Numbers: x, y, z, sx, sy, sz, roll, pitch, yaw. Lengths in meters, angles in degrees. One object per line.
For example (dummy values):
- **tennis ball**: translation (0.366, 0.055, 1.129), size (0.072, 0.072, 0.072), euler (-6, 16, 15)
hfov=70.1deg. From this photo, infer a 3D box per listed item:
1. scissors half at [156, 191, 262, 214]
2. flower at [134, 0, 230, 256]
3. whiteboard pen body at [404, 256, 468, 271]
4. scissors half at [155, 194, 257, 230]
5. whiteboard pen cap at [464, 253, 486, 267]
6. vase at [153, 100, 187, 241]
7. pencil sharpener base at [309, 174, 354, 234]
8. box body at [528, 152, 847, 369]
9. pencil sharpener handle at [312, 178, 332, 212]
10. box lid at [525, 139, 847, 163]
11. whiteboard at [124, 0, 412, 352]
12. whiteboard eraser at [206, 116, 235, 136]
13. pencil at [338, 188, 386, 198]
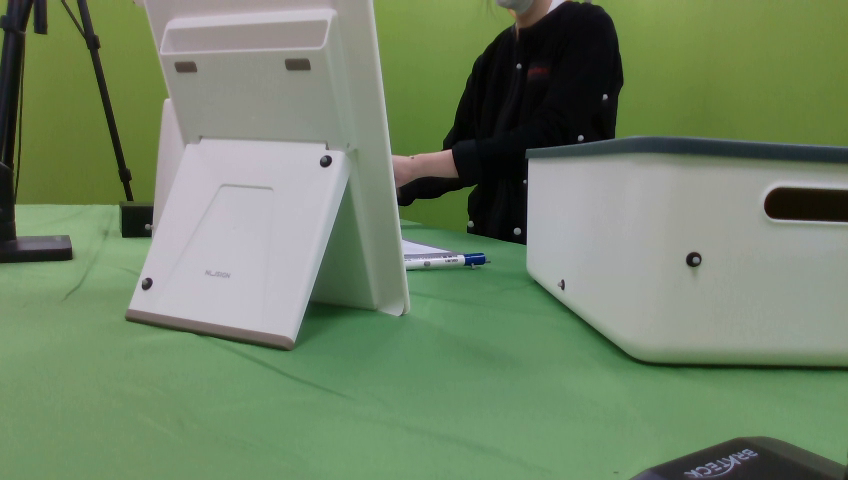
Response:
- **scissors half**: translation (-0.371, -0.069, 1.051), size (0.176, 0.040, 0.013), euler (2, 25, -24)
- **flower**: translation (-0.282, -0.147, 0.713), size (0.038, 0.362, 0.044), euler (-23, 24, -31)
- **whiteboard pen body**: translation (0.013, 0.030, 0.792), size (0.141, 0.017, 0.017), euler (-3, 9, -24)
- **scissors half**: translation (-0.378, -0.051, 1.058), size (0.176, 0.040, 0.012), euler (20, 22, -31)
- **whiteboard pen cap**: translation (0.066, 0.027, 0.818), size (0.033, 0.018, 0.018), euler (-5, 10, -24)
- **vase**: translation (-0.278, -0.066, 0.736), size (0.098, 0.200, 0.098), euler (2, 9, 0)
- **pencil sharpener base**: translation (-0.176, -0.070, 1.139), size (0.062, 0.107, 0.076), euler (-3, 9, -32)
- **box body**: translation (0.258, -0.005, 0.591), size (0.254, 0.160, 0.363), euler (2, 7, -4)
- **pencil sharpener handle**: translation (-0.205, -0.088, 1.179), size (0.036, 0.067, 0.030), euler (9, 2, -33)
- **box lid**: translation (0.261, -0.078, 0.580), size (0.264, 0.015, 0.371), euler (2, 7, -4)
- **whiteboard**: translation (-0.151, -0.049, 0.472), size (0.216, 0.305, 0.144), euler (6, 27, 24)
- **whiteboard eraser**: translation (-0.450, -0.252, 1.335), size (0.056, 0.042, 0.112), euler (1, 7, -22)
- **pencil**: translation (-0.111, -0.082, 1.036), size (0.012, 0.012, 0.193), euler (-2, 7, -29)
